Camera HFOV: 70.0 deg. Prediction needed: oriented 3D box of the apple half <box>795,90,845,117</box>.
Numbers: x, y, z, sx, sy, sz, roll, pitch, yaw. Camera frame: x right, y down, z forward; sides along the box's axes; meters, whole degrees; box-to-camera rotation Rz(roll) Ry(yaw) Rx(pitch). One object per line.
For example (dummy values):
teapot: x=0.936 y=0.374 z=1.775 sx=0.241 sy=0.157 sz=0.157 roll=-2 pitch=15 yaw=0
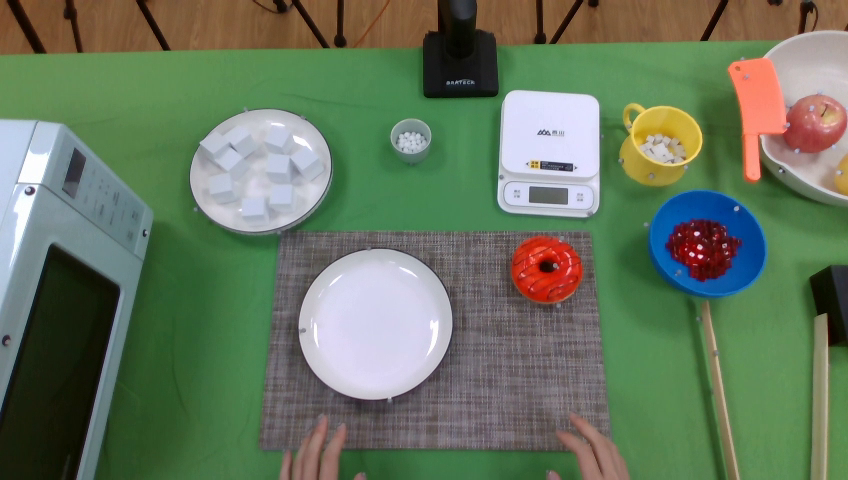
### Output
apple half: x=0.583 y=-0.193 z=0.894 sx=0.081 sy=0.082 sz=0.033 roll=39 pitch=78 yaw=15

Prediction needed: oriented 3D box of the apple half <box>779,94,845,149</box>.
apple half: x=0.558 y=-0.165 z=0.885 sx=0.080 sy=0.075 sz=0.053 roll=40 pitch=78 yaw=12

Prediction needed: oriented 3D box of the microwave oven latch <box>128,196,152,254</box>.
microwave oven latch: x=-0.406 y=-0.022 z=0.852 sx=0.030 sy=0.030 sz=0.078 roll=4 pitch=70 yaw=2

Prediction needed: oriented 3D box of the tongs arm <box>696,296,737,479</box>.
tongs arm: x=0.393 y=0.257 z=0.753 sx=0.051 sy=0.026 sz=0.382 roll=1 pitch=70 yaw=-2

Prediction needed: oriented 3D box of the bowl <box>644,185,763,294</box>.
bowl: x=0.367 y=0.009 z=0.825 sx=0.151 sy=0.077 sz=0.150 roll=0 pitch=70 yaw=1

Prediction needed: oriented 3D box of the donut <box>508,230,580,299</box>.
donut: x=0.164 y=0.033 z=0.833 sx=0.099 sy=0.048 sz=0.098 roll=-1 pitch=70 yaw=3

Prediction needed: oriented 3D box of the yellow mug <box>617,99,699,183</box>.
yellow mug: x=0.333 y=-0.155 z=0.895 sx=0.100 sy=0.064 sz=0.130 roll=-31 pitch=71 yaw=-10

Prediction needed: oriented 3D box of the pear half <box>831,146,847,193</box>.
pear half: x=0.617 y=-0.100 z=0.840 sx=0.076 sy=0.110 sz=0.056 roll=34 pitch=73 yaw=17

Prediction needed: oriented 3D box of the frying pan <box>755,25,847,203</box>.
frying pan: x=0.656 y=-0.100 z=0.847 sx=0.307 sy=0.103 sz=0.483 roll=-25 pitch=63 yaw=-7

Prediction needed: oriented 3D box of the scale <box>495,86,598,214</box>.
scale: x=0.185 y=-0.138 z=0.909 sx=0.148 sy=0.032 sz=0.199 roll=4 pitch=70 yaw=3

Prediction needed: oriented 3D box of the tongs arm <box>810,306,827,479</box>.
tongs arm: x=0.479 y=0.265 z=0.751 sx=0.028 sy=0.028 sz=0.385 roll=16 pitch=71 yaw=0

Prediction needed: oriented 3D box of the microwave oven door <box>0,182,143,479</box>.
microwave oven door: x=-0.423 y=0.145 z=0.680 sx=0.039 sy=0.245 sz=0.353 roll=2 pitch=69 yaw=3

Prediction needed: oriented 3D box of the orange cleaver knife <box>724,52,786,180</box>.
orange cleaver knife: x=0.474 y=-0.181 z=0.862 sx=0.077 sy=0.012 sz=0.210 roll=4 pitch=70 yaw=5

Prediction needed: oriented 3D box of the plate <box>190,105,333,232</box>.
plate: x=-0.238 y=-0.104 z=0.900 sx=0.208 sy=0.039 sz=0.206 roll=0 pitch=69 yaw=1

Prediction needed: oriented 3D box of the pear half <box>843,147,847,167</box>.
pear half: x=0.641 y=-0.122 z=0.859 sx=0.070 sy=0.088 sz=0.031 roll=32 pitch=75 yaw=17

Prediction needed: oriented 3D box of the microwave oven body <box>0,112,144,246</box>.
microwave oven body: x=-0.566 y=0.101 z=0.704 sx=0.326 sy=0.262 sz=0.438 roll=3 pitch=70 yaw=2

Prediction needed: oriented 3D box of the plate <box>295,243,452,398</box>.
plate: x=-0.066 y=0.107 z=0.812 sx=0.209 sy=0.038 sz=0.207 roll=0 pitch=69 yaw=1

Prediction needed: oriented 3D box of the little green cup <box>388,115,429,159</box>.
little green cup: x=-0.022 y=-0.153 z=0.915 sx=0.061 sy=0.039 sz=0.061 roll=0 pitch=68 yaw=1
